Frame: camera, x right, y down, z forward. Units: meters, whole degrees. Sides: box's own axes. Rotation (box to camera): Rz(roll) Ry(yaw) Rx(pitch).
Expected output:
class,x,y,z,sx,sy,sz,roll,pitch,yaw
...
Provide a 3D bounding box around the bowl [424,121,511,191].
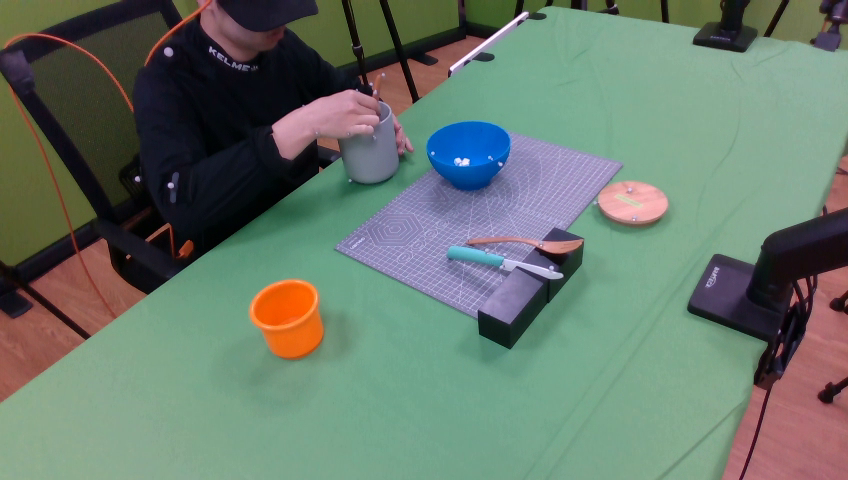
class,x,y,z,sx,sy,sz,roll,pitch,yaw
bowl,0.080,-0.140,1.074,0.151,0.077,0.150,-4,40,4

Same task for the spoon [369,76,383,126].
class,x,y,z,sx,sy,sz,roll,pitch,yaw
spoon,-0.092,-0.205,1.078,0.042,0.194,0.021,-22,50,-31

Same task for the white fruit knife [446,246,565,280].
class,x,y,z,sx,sy,sz,roll,pitch,yaw
white fruit knife,0.111,0.033,0.868,0.205,0.027,0.016,11,44,40

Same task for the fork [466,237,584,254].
class,x,y,z,sx,sy,sz,roll,pitch,yaw
fork,0.142,0.005,0.894,0.205,0.019,0.028,4,43,41

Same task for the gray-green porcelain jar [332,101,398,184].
class,x,y,z,sx,sy,sz,roll,pitch,yaw
gray-green porcelain jar,-0.105,-0.174,1.108,0.106,0.127,0.105,-4,40,4

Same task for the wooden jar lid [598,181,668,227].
class,x,y,z,sx,sy,sz,roll,pitch,yaw
wooden jar lid,0.340,-0.058,0.989,0.108,0.021,0.108,-5,41,5
